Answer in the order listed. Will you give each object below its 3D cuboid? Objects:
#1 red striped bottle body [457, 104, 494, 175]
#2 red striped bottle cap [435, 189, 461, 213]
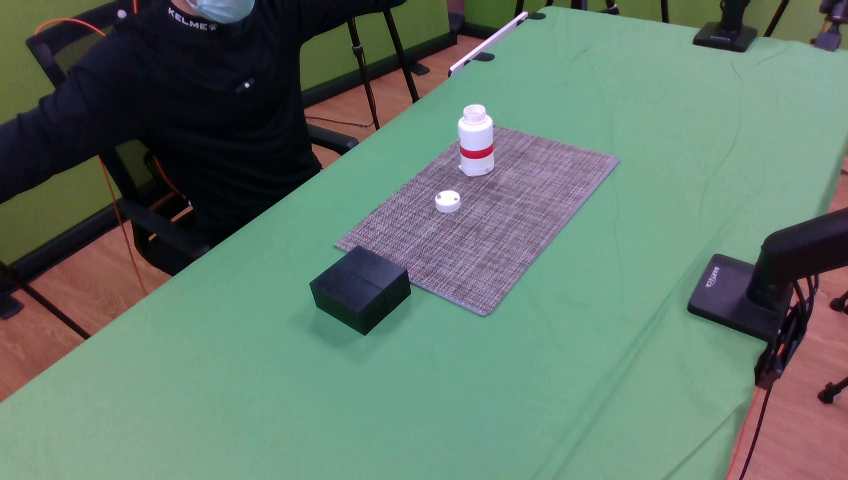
[{"bbox_3d":[0.093,-0.182,1.085,0.063,0.120,0.062,-4,41,4],"label":"red striped bottle body"},{"bbox_3d":[0.042,-0.068,1.040,0.044,0.018,0.044,-5,46,6],"label":"red striped bottle cap"}]
